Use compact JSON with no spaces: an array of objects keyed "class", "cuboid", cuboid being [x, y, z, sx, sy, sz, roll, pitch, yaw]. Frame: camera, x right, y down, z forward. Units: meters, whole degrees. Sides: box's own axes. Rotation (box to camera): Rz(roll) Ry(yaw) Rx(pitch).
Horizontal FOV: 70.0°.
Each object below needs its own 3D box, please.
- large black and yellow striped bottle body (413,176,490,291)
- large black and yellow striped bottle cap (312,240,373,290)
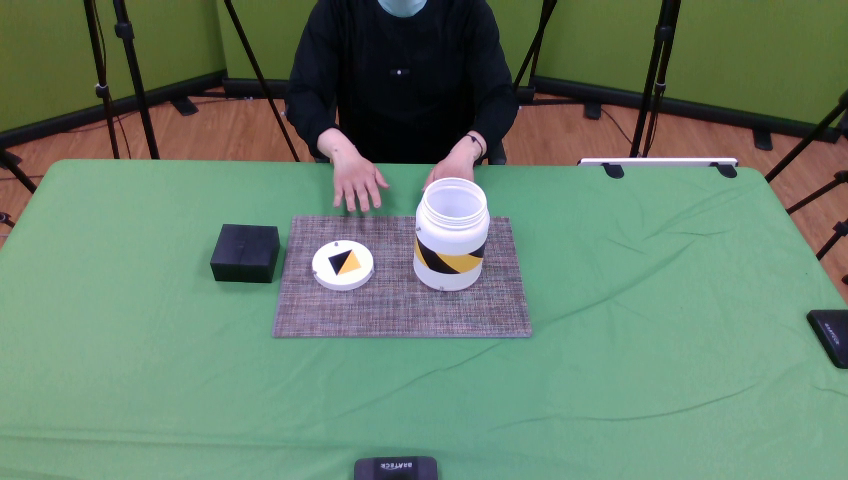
[{"class":"large black and yellow striped bottle body","cuboid":[0.049,-0.011,1.091,0.131,0.185,0.130,2,46,-2]},{"class":"large black and yellow striped bottle cap","cuboid":[-0.153,0.046,1.140,0.115,0.019,0.114,3,47,-3]}]
